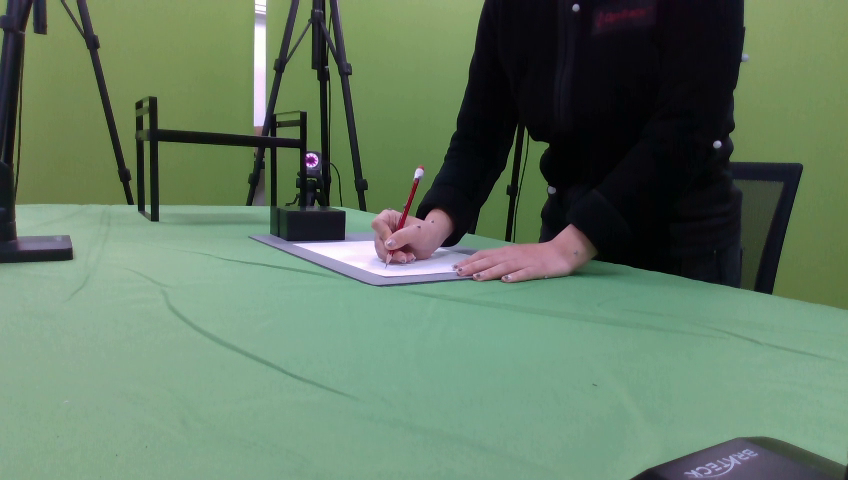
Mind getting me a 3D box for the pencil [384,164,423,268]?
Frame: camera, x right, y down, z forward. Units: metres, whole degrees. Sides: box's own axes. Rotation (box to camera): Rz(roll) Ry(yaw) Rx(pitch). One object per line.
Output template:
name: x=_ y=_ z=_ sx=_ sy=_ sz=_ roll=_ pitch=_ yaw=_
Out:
pencil: x=-0.028 y=-0.037 z=0.832 sx=0.012 sy=0.012 sz=0.194 roll=5 pitch=50 yaw=16
